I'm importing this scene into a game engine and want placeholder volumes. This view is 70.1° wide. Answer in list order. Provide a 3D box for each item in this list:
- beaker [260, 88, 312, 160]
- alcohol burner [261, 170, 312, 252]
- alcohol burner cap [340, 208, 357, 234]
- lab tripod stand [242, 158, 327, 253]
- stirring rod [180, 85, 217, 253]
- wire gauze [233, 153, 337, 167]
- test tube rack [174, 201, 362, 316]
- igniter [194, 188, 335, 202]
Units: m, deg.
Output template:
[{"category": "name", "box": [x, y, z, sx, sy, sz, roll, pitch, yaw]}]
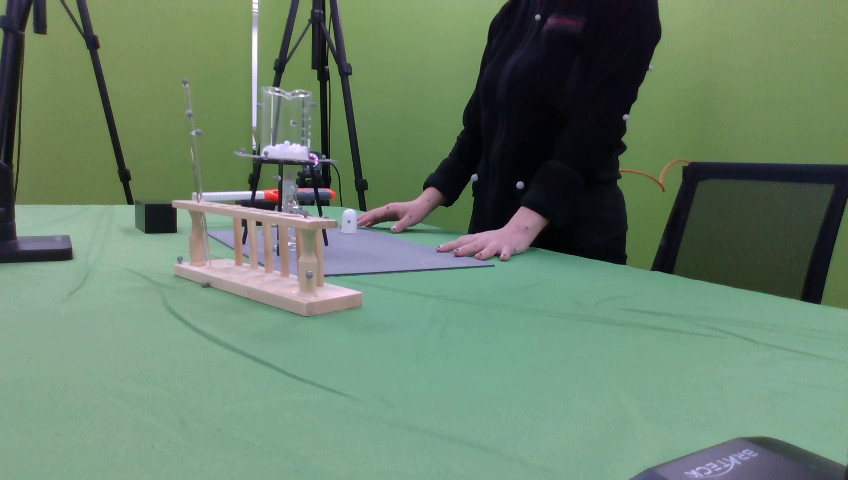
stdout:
[{"category": "beaker", "box": [-0.200, -0.166, 0.876, 0.074, 0.100, 0.083, 1, 7, -18]}, {"category": "alcohol burner", "box": [-0.201, -0.043, 0.891, 0.078, 0.119, 0.078, 1, 6, 0]}, {"category": "alcohol burner cap", "box": [-0.142, -0.036, 1.136, 0.034, 0.048, 0.034, 2, 7, 0]}, {"category": "lab tripod stand", "box": [-0.207, -0.054, 0.895, 0.148, 0.131, 0.148, 2, 5, 0]}, {"category": "stirring rod", "box": [-0.236, -0.073, 0.634, 0.006, 0.176, 0.014, 1, 10, 43]}, {"category": "wire gauze", "box": [-0.205, -0.119, 0.887, 0.122, 0.011, 0.124, 2, 4, -32]}, {"category": "test tube rack", "box": [-0.169, 0.009, 0.622, 0.241, 0.085, 0.067, 9, 9, 41]}, {"category": "igniter", "box": [-0.312, -0.089, 1.209, 0.278, 0.025, 0.057, -5, 13, -31]}]
